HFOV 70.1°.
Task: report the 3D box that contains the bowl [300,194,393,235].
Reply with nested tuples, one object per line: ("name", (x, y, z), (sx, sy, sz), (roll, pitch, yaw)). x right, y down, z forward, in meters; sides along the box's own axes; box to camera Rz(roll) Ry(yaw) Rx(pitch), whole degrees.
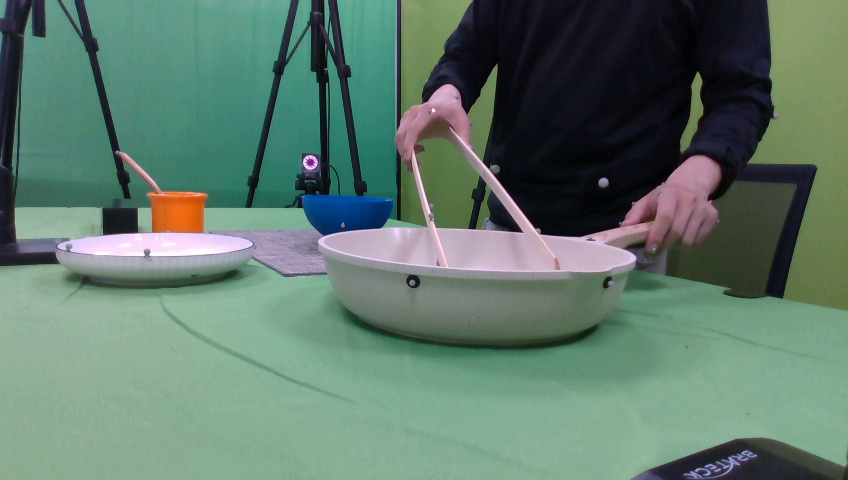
("bowl", (-0.128, -0.034, 0.996), (0.151, 0.077, 0.151), (2, 7, 0))

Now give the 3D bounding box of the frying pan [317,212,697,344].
("frying pan", (0.133, 0.013, 0.629), (0.490, 0.102, 0.305), (-12, 14, -31))

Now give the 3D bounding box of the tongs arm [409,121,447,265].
("tongs arm", (0.016, -0.059, 0.730), (0.051, 0.026, 0.383), (-14, 33, -3))

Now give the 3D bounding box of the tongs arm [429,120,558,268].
("tongs arm", (0.072, -0.071, 0.735), (0.028, 0.028, 0.386), (-20, 34, -6))

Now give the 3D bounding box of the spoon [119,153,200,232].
("spoon", (-0.439, -0.077, 1.001), (0.021, 0.193, 0.042), (-43, -6, 22))

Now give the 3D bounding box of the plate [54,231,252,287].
("plate", (-0.309, 0.020, 0.705), (0.208, 0.039, 0.207), (3, 7, 0))
